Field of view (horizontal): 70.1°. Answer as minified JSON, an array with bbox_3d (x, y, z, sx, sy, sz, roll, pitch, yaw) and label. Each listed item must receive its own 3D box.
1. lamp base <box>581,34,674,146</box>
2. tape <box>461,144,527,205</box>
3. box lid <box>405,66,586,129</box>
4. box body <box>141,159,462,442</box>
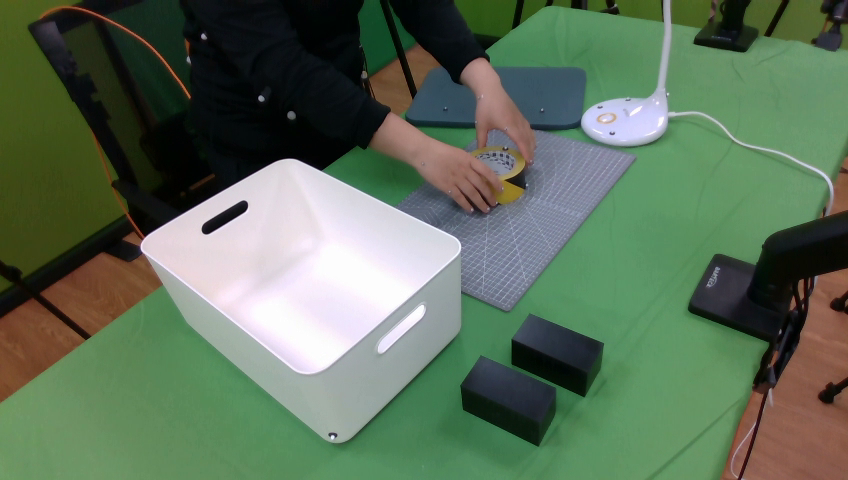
[{"bbox_3d":[0.392,-0.291,1.129,0.180,0.181,0.159,-11,41,-8],"label":"lamp base"},{"bbox_3d":[0.124,-0.116,1.057,0.117,0.053,0.116,-4,41,4],"label":"tape"},{"bbox_3d":[0.163,-0.317,1.322,0.370,0.015,0.263,5,42,14],"label":"box lid"},{"bbox_3d":[-0.153,0.063,0.809,0.361,0.161,0.255,27,51,33],"label":"box body"}]
